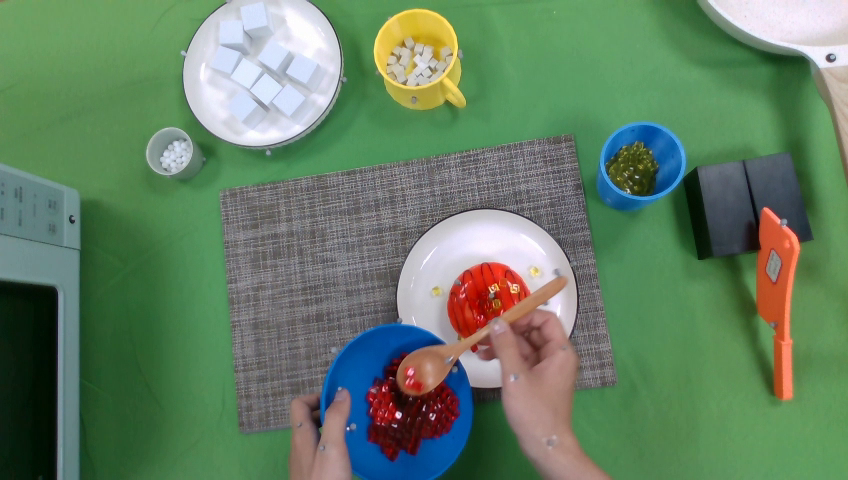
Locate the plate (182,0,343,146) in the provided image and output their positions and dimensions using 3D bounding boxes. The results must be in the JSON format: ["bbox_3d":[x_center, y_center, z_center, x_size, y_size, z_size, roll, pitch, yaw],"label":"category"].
[{"bbox_3d":[-0.202,-0.217,0.774,0.207,0.039,0.207,-1,82,6],"label":"plate"}]

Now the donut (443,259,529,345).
[{"bbox_3d":[0.071,0.071,0.689,0.099,0.048,0.099,-1,86,7],"label":"donut"}]

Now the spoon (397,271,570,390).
[{"bbox_3d":[0.053,0.085,0.564,0.194,0.022,0.041,-35,84,21],"label":"spoon"}]

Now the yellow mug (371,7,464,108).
[{"bbox_3d":[0.001,-0.210,0.736,0.100,0.064,0.130,-45,81,-1],"label":"yellow mug"}]

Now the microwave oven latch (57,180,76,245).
[{"bbox_3d":[-0.456,-0.034,0.758,0.030,0.029,0.079,-3,83,6],"label":"microwave oven latch"}]

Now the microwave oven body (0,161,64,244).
[{"bbox_3d":[-0.600,0.141,0.653,0.326,0.261,0.440,-5,82,5],"label":"microwave oven body"}]

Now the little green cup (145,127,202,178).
[{"bbox_3d":[-0.316,-0.108,0.770,0.061,0.039,0.061,-1,83,5],"label":"little green cup"}]

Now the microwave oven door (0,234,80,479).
[{"bbox_3d":[-0.452,0.169,0.628,0.039,0.245,0.354,-6,82,6],"label":"microwave oven door"}]

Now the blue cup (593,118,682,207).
[{"bbox_3d":[0.228,-0.077,0.674,0.092,0.100,0.092,-1,80,5],"label":"blue cup"}]

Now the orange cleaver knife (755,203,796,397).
[{"bbox_3d":[0.373,0.066,0.649,0.012,0.076,0.212,-9,110,5],"label":"orange cleaver knife"}]

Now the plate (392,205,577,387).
[{"bbox_3d":[0.069,0.064,0.701,0.209,0.038,0.208,-1,83,6],"label":"plate"}]

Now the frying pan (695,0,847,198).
[{"bbox_3d":[0.438,-0.249,0.672,0.306,0.103,0.485,-4,74,7],"label":"frying pan"}]

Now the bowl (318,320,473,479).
[{"bbox_3d":[-0.036,0.160,0.598,0.152,0.077,0.150,7,70,-20],"label":"bowl"}]
